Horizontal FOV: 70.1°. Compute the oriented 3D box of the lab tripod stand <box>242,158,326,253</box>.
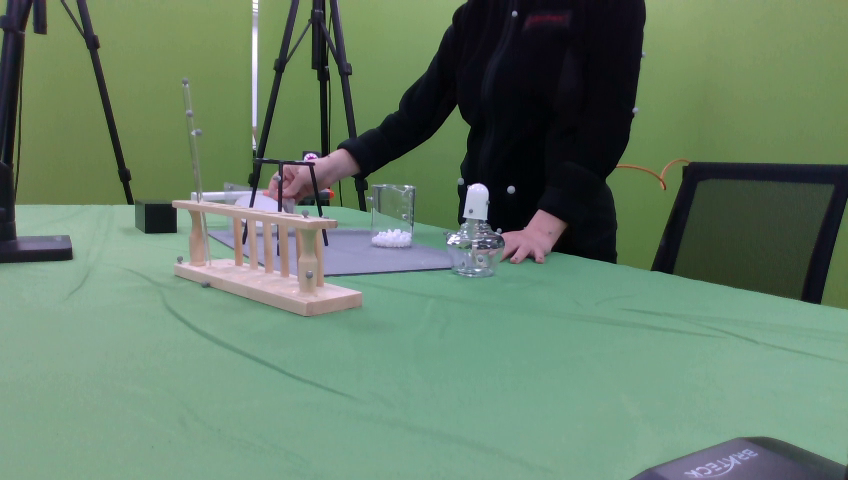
[{"bbox_3d":[-0.207,-0.054,0.895,0.148,0.131,0.148,2,5,0],"label":"lab tripod stand"}]

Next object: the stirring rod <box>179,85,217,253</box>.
[{"bbox_3d":[-0.237,-0.073,0.634,0.006,0.176,0.014,0,9,41],"label":"stirring rod"}]

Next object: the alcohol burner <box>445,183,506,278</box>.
[{"bbox_3d":[0.066,-0.013,0.770,0.078,0.119,0.078,0,7,0],"label":"alcohol burner"}]

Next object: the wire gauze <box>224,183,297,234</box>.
[{"bbox_3d":[-0.284,-0.055,1.060,0.122,0.011,0.124,3,44,-27],"label":"wire gauze"}]

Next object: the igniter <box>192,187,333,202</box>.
[{"bbox_3d":[-0.316,-0.090,1.213,0.278,0.025,0.057,-5,12,-31],"label":"igniter"}]

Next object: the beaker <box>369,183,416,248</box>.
[{"bbox_3d":[-0.050,-0.039,0.971,0.074,0.100,0.083,-1,9,-25],"label":"beaker"}]

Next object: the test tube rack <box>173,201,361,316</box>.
[{"bbox_3d":[-0.169,0.010,0.622,0.241,0.085,0.067,9,10,41],"label":"test tube rack"}]

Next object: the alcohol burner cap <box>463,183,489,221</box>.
[{"bbox_3d":[0.067,-0.048,0.765,0.034,0.048,0.034,5,5,0],"label":"alcohol burner cap"}]
